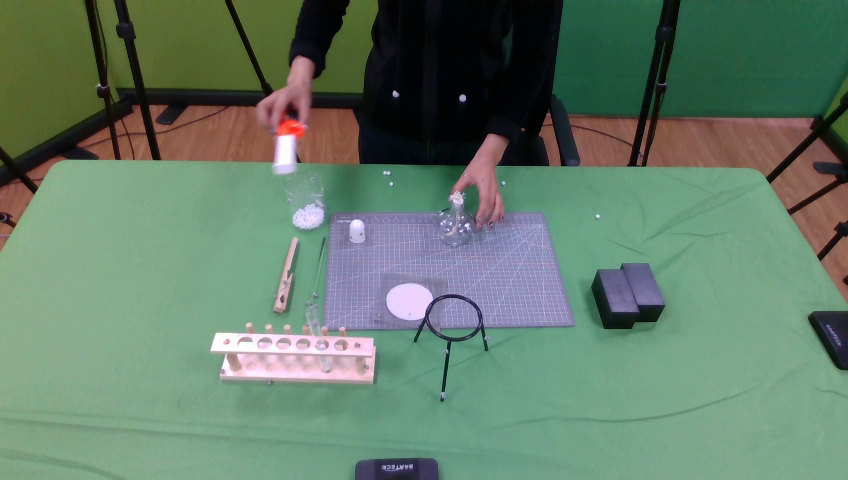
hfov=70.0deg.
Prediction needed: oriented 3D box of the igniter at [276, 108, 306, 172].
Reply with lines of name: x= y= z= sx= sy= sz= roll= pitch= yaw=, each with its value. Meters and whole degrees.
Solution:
igniter: x=-0.247 y=-0.191 z=1.118 sx=0.057 sy=0.025 sz=0.275 roll=-6 pitch=32 yaw=-7

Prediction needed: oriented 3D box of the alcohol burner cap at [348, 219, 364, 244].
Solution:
alcohol burner cap: x=-0.134 y=-0.019 z=1.190 sx=0.034 sy=0.048 sz=0.033 roll=2 pitch=46 yaw=-2

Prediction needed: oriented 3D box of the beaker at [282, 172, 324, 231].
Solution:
beaker: x=-0.234 y=-0.073 z=1.199 sx=0.084 sy=0.101 sz=0.074 roll=24 pitch=49 yaw=17

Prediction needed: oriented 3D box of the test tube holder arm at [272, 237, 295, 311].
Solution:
test tube holder arm: x=-0.258 y=0.059 z=1.123 sx=0.013 sy=0.015 sz=0.177 roll=27 pitch=39 yaw=-25

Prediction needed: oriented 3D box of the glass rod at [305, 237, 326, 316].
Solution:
glass rod: x=-0.202 y=0.063 z=1.131 sx=0.008 sy=0.008 sz=0.198 roll=3 pitch=44 yaw=0

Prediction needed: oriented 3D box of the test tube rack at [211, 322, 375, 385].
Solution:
test tube rack: x=-0.203 y=0.176 z=0.969 sx=0.242 sy=0.085 sz=0.066 roll=3 pitch=46 yaw=-2

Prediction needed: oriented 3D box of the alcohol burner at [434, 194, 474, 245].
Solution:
alcohol burner: x=0.060 y=-0.046 z=1.183 sx=0.078 sy=0.119 sz=0.077 roll=4 pitch=47 yaw=-4

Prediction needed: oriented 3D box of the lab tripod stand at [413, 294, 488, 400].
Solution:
lab tripod stand: x=0.044 y=0.159 z=0.972 sx=0.148 sy=0.132 sz=0.147 roll=2 pitch=44 yaw=-2

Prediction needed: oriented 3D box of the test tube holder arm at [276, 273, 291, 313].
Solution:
test tube holder arm: x=-0.253 y=0.093 z=1.094 sx=0.010 sy=0.015 sz=0.087 roll=27 pitch=39 yaw=-25

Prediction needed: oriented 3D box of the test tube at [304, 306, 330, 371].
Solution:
test tube: x=-0.162 y=0.153 z=0.925 sx=0.017 sy=0.151 sz=0.017 roll=-2 pitch=44 yaw=2

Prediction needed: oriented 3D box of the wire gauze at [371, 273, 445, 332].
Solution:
wire gauze: x=-0.028 y=0.108 z=1.100 sx=0.125 sy=0.011 sz=0.121 roll=7 pitch=45 yaw=4
